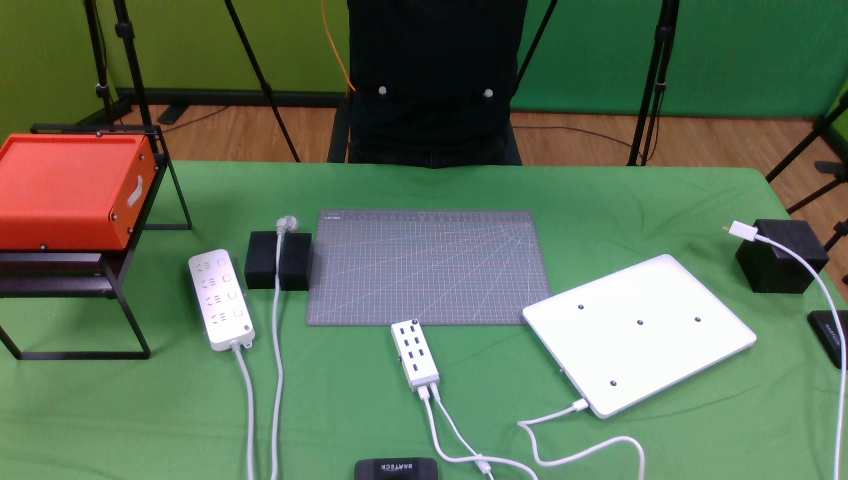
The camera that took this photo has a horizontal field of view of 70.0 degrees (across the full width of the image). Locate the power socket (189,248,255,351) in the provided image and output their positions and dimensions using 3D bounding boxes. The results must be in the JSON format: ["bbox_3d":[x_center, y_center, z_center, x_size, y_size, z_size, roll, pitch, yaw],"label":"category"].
[{"bbox_3d":[-0.358,0.100,1.068,0.072,0.033,0.225,-17,51,-18],"label":"power socket"}]

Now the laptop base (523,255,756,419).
[{"bbox_3d":[0.381,0.158,1.080,0.355,0.023,0.234,-18,48,-21],"label":"laptop base"}]

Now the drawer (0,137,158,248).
[{"bbox_3d":[-0.549,-0.078,0.943,0.212,0.073,0.193,0,47,-4],"label":"drawer"}]

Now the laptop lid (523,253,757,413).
[{"bbox_3d":[0.380,0.147,1.072,0.357,0.013,0.240,-17,48,-19],"label":"laptop lid"}]

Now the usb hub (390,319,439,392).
[{"bbox_3d":[-0.016,0.190,1.013,0.049,0.025,0.124,-11,48,-15],"label":"usb hub"}]

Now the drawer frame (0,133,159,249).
[{"bbox_3d":[-0.553,-0.078,0.942,0.214,0.083,0.200,-1,47,-4],"label":"drawer frame"}]

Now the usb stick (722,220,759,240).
[{"bbox_3d":[0.593,-0.021,1.139,0.059,0.027,0.021,22,13,29],"label":"usb stick"}]

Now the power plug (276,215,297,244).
[{"bbox_3d":[-0.267,-0.015,1.156,0.035,0.053,0.072,7,63,26],"label":"power plug"}]

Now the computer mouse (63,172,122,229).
[{"bbox_3d":[-0.522,-0.066,0.955,0.063,0.041,0.116,0,48,-9],"label":"computer mouse"}]
